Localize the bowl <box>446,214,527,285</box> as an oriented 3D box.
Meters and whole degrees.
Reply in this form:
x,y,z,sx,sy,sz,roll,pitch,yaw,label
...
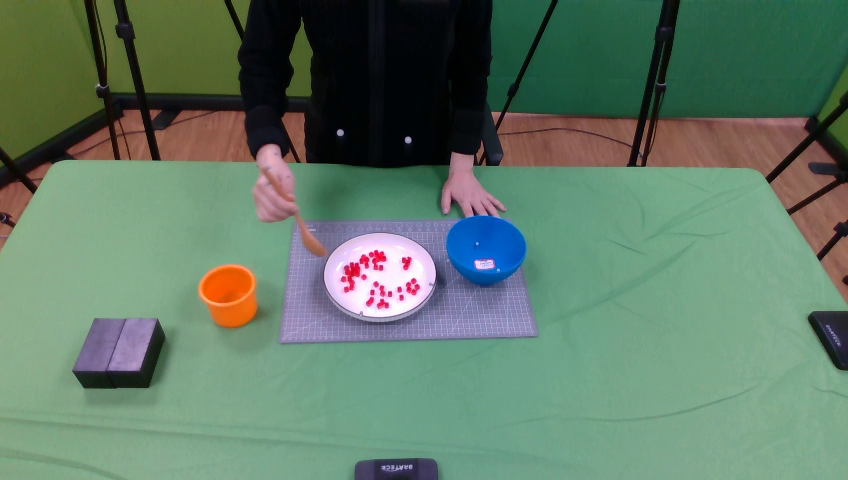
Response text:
x,y,z,sx,sy,sz,roll,pitch,yaw,label
0.112,0.031,1.134,0.151,0.077,0.150,2,46,-2,bowl

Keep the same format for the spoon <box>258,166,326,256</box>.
x,y,z,sx,sy,sz,roll,pitch,yaw,label
-0.219,-0.043,1.005,0.041,0.195,0.021,-2,37,37,spoon

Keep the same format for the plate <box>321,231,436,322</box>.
x,y,z,sx,sy,sz,roll,pitch,yaw,label
-0.083,0.070,1.109,0.209,0.038,0.208,3,46,-3,plate
